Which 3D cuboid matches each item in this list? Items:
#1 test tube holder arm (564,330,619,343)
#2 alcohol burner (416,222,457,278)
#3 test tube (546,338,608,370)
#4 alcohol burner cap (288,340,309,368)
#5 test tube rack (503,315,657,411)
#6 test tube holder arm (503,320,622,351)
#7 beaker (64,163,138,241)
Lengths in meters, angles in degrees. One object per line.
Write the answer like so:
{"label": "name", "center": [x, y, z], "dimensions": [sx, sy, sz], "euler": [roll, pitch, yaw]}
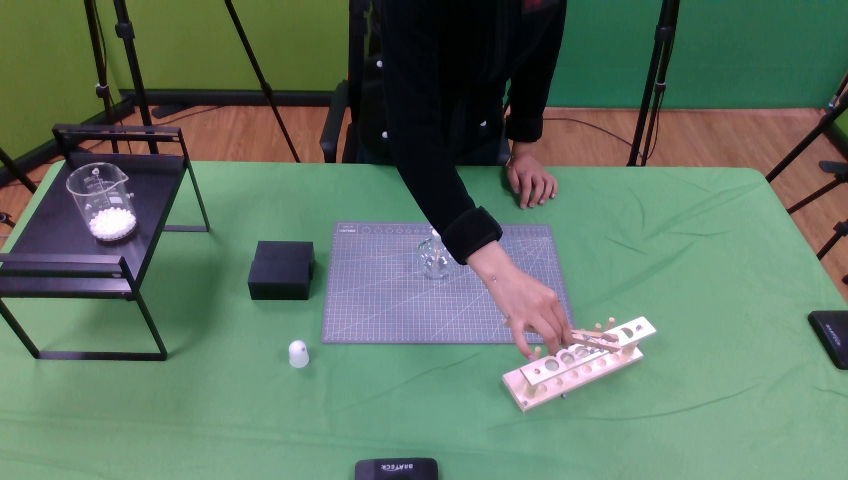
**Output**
{"label": "test tube holder arm", "center": [0.239, 0.138, 0.869], "dimensions": [0.088, 0.015, 0.010], "euler": [6, 42, -19]}
{"label": "alcohol burner", "center": [0.024, 0.014, 1.116], "dimensions": [0.078, 0.120, 0.077], "euler": [1, 45, -1]}
{"label": "test tube", "center": [0.225, 0.180, 0.933], "dimensions": [0.017, 0.150, 0.017], "euler": [17, 55, -26]}
{"label": "alcohol burner cap", "center": [-0.207, 0.183, 0.991], "dimensions": [0.034, 0.048, 0.033], "euler": [2, 47, -2]}
{"label": "test tube rack", "center": [0.253, 0.186, 0.989], "dimensions": [0.242, 0.085, 0.066], "euler": [-18, 50, -20]}
{"label": "test tube holder arm", "center": [0.196, 0.135, 0.853], "dimensions": [0.179, 0.015, 0.013], "euler": [11, 40, -12]}
{"label": "beaker", "center": [-0.477, -0.055, 0.910], "dimensions": [0.084, 0.101, 0.073], "euler": [-9, 48, -13]}
